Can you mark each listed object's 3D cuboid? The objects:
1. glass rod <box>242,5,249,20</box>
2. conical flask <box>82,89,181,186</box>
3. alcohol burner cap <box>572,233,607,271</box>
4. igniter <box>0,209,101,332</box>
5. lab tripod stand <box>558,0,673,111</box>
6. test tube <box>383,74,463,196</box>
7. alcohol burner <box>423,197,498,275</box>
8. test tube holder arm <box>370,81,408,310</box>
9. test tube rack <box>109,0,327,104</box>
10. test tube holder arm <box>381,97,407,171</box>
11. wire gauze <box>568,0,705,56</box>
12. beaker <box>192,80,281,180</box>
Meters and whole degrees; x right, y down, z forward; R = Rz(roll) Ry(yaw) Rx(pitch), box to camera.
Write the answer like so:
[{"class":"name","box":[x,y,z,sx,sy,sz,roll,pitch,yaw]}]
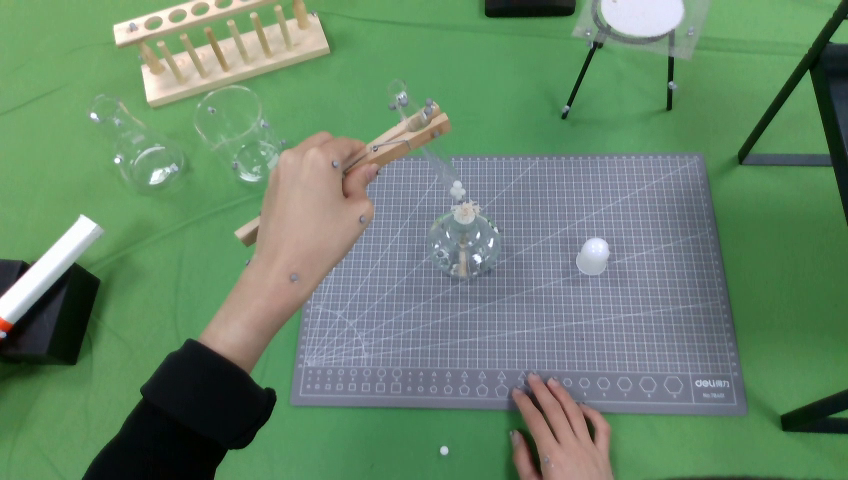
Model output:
[{"class":"glass rod","box":[-0.236,-0.320,0.723,0.008,0.201,0.008,-5,59,9]},{"class":"conical flask","box":[-0.338,-0.121,0.693,0.075,0.123,0.074,-2,65,4]},{"class":"alcohol burner cap","box":[0.177,0.010,0.641,0.034,0.048,0.033,-1,66,3]},{"class":"igniter","box":[-0.438,0.081,0.609,0.057,0.025,0.276,27,70,25]},{"class":"lab tripod stand","box":[0.225,-0.221,0.694,0.148,0.132,0.147,-1,65,2]},{"class":"test tube","box":[0.004,-0.077,0.482,0.017,0.152,0.017,-10,60,18]},{"class":"alcohol burner","box":[0.038,-0.010,0.620,0.078,0.120,0.077,-1,64,2]},{"class":"test tube holder arm","box":[-0.028,-0.034,0.474,0.015,0.013,0.178,5,89,-8]},{"class":"test tube rack","box":[-0.257,-0.260,0.771,0.242,0.086,0.066,-19,66,-5]},{"class":"test tube holder arm","box":[-0.024,-0.075,0.465,0.015,0.088,0.010,7,57,-4]},{"class":"wire gauze","box":[0.228,-0.250,0.633,0.121,0.011,0.124,21,70,11]},{"class":"beaker","box":[-0.212,-0.119,0.697,0.074,0.101,0.083,15,68,11]}]
